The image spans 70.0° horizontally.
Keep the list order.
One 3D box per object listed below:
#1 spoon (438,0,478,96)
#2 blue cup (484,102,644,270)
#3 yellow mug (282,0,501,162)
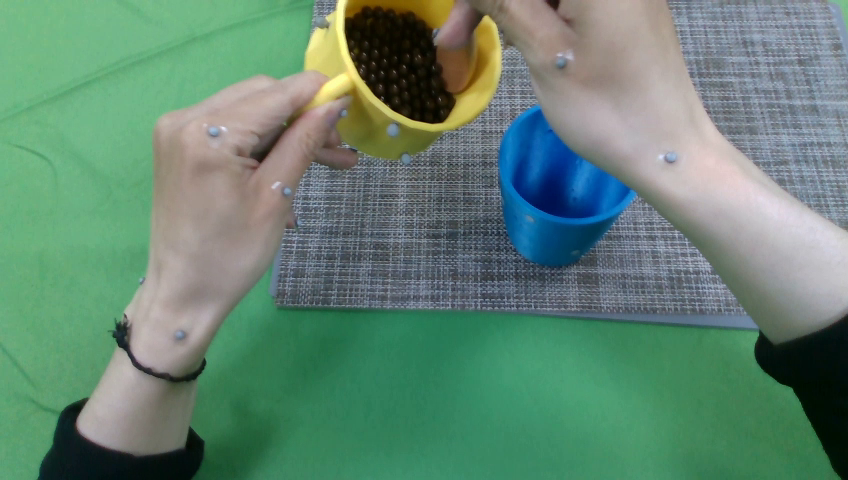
[{"bbox_3d":[0.022,-0.117,0.294,0.021,0.194,0.041,-10,84,-3],"label":"spoon"},{"bbox_3d":[0.088,-0.025,0.399,0.092,0.101,0.092,-1,66,3],"label":"blue cup"},{"bbox_3d":[-0.025,-0.094,0.351,0.131,0.064,0.100,-35,99,-24],"label":"yellow mug"}]
